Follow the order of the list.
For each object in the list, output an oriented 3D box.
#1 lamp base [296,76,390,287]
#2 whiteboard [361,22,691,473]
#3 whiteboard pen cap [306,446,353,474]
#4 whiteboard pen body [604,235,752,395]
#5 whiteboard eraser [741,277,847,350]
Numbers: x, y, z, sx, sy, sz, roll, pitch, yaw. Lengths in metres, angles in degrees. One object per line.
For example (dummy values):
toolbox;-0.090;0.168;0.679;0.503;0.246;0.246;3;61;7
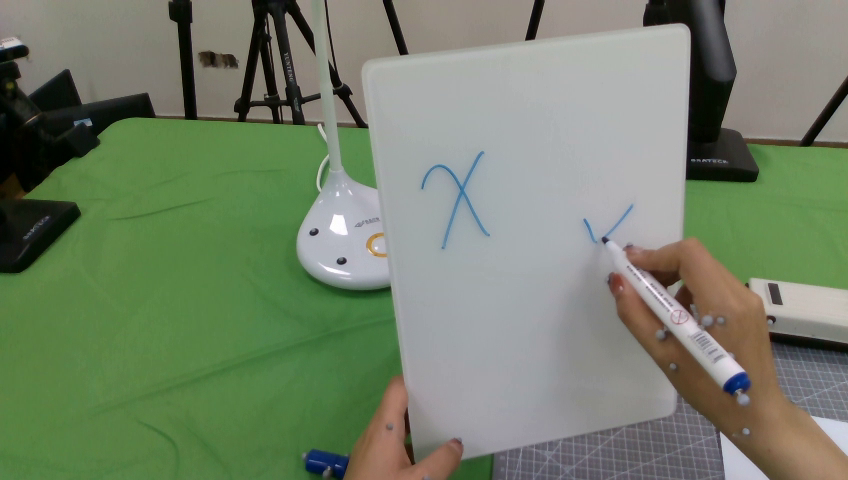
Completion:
lamp base;-0.072;-0.070;0.636;0.161;0.182;0.177;-28;43;-28
whiteboard;0.074;-0.003;0.490;0.217;0.307;0.142;-9;20;-7
whiteboard pen cap;-0.072;0.169;0.466;0.033;0.018;0.018;5;39;11
whiteboard pen body;0.150;0.039;0.378;0.017;0.017;0.139;-13;41;-13
whiteboard eraser;0.351;0.068;0.548;0.112;0.042;0.055;8;41;13
